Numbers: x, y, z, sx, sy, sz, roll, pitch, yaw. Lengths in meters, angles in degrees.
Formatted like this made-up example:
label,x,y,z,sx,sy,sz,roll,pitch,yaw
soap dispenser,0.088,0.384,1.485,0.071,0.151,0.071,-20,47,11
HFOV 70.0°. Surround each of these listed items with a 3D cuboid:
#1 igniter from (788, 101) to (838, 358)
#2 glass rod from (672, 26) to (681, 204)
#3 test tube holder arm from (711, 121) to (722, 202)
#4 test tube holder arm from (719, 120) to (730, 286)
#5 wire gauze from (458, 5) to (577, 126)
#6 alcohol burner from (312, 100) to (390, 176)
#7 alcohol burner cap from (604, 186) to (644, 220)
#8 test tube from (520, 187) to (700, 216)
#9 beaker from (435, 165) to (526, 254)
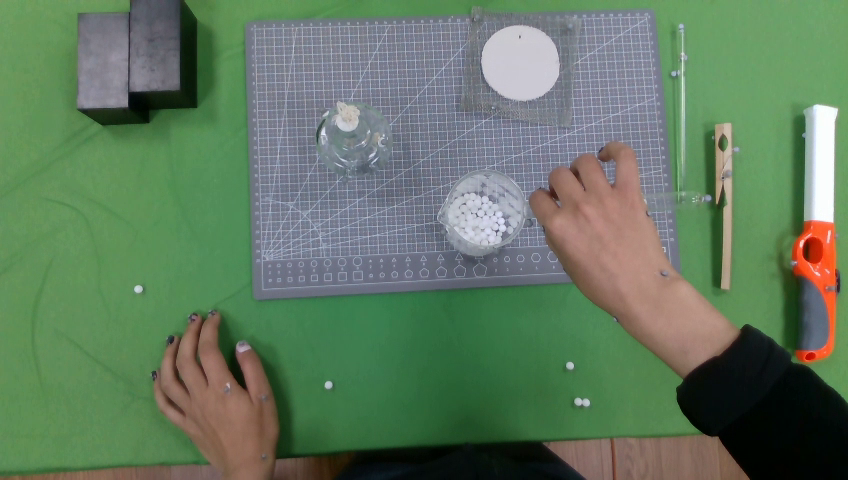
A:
label,x,y,z,sx,sy,sz,roll,pitch,yaw
igniter,0.417,-0.013,0.649,0.057,0.025,0.276,6,84,-12
glass rod,0.277,-0.138,0.665,0.008,0.008,0.199,2,86,-3
test tube holder arm,0.318,-0.085,0.658,0.010,0.015,0.087,-2,84,32
test tube holder arm,0.322,-0.040,0.651,0.013,0.015,0.178,-3,84,32
wire gauze,0.103,-0.193,0.661,0.125,0.011,0.121,8,85,-2
alcohol burner,-0.073,-0.105,0.590,0.078,0.119,0.077,0,83,0
alcohol burner cap,0.211,-0.041,0.632,0.034,0.048,0.034,0,83,-2
test tube,0.159,-0.033,0.524,0.150,0.017,0.017,-4,83,8
beaker,0.051,-0.024,0.595,0.084,0.100,0.074,-11,83,-3
